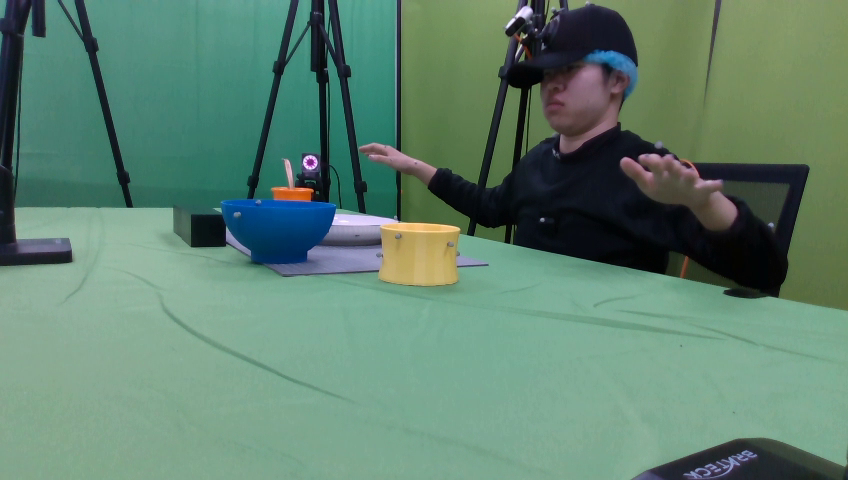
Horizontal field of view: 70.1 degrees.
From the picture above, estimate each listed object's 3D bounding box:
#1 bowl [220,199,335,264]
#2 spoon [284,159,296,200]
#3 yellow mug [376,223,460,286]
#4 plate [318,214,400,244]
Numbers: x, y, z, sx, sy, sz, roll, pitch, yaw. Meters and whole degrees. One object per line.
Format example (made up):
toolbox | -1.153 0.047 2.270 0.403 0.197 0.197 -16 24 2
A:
bowl | -0.197 -0.012 0.819 0.151 0.077 0.151 3 8 0
spoon | -0.302 -0.118 1.370 0.042 0.193 0.021 4 -39 -24
yellow mug | -0.002 0.014 0.754 0.099 0.064 0.131 5 7 20
plate | -0.147 -0.020 1.060 0.209 0.038 0.209 2 7 0
